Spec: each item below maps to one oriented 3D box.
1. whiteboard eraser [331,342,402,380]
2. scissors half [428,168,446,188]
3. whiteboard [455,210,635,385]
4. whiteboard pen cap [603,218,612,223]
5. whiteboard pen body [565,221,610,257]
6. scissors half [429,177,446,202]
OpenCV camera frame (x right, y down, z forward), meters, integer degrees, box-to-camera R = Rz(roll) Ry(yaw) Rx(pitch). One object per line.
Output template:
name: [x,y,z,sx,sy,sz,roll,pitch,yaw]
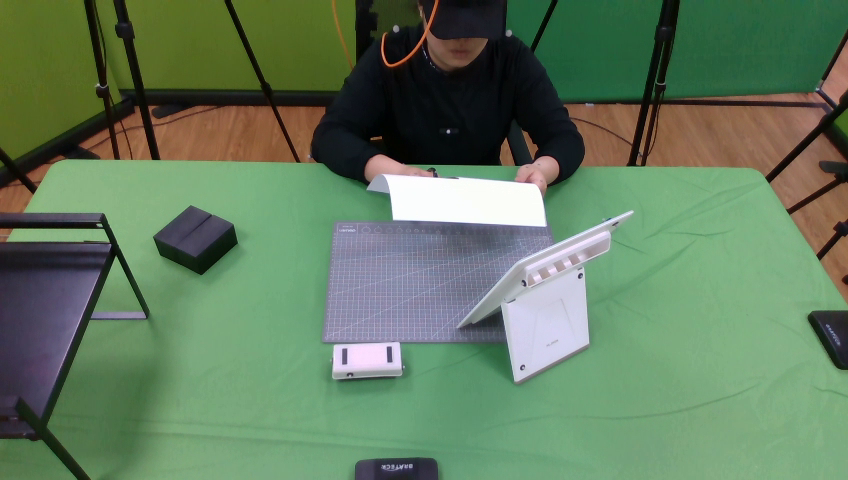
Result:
whiteboard eraser: [-0.094,0.198,0.986,0.113,0.042,0.055,-2,44,-6]
scissors half: [0.025,-0.119,1.165,0.013,0.040,0.175,-11,7,-8]
whiteboard: [0.211,0.111,0.955,0.217,0.306,0.143,-21,71,-23]
whiteboard pen cap: [0.379,-0.031,1.255,0.033,0.018,0.018,-33,57,-29]
whiteboard pen body: [0.335,-0.004,1.228,0.141,0.017,0.017,-33,56,-28]
scissors half: [0.029,-0.101,1.166,0.013,0.175,0.040,-17,86,-7]
